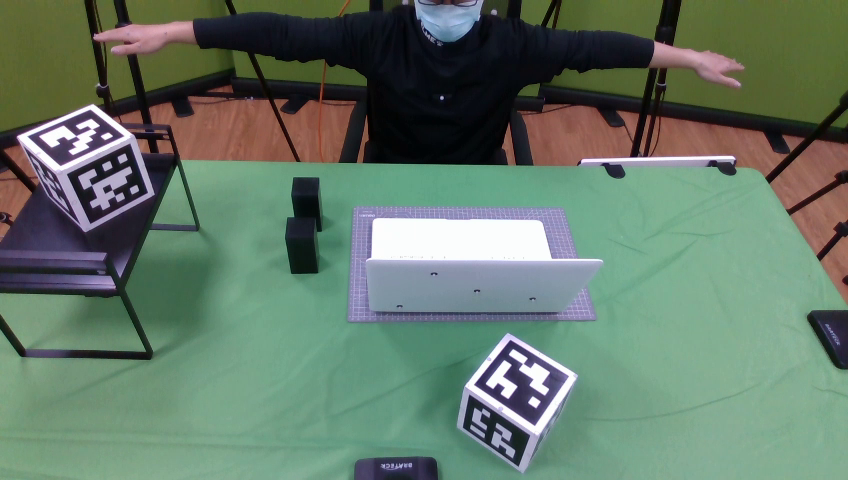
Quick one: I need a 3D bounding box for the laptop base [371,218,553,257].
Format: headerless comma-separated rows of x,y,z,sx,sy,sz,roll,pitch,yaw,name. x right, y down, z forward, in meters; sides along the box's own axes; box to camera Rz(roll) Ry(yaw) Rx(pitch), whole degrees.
0.074,0.044,1.159,0.354,0.023,0.234,0,43,-3,laptop base

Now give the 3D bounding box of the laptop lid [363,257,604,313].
0.084,0.076,0.972,0.357,0.242,0.013,1,65,-5,laptop lid
